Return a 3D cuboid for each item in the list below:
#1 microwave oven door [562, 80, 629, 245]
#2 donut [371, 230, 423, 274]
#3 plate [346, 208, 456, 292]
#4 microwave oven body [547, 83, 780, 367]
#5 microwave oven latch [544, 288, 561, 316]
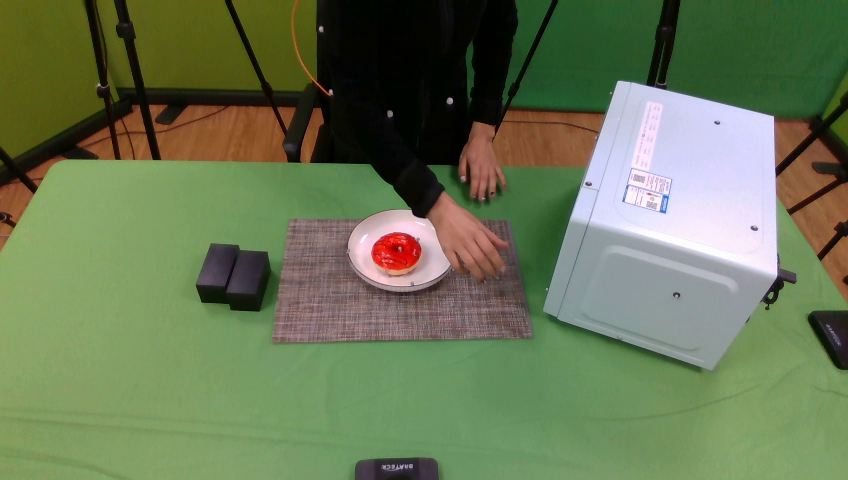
[{"bbox_3d":[0.324,-0.116,1.156,0.039,0.245,0.354,18,48,13],"label":"microwave oven door"},{"bbox_3d":[-0.051,0.022,1.142,0.099,0.048,0.098,0,45,0],"label":"donut"},{"bbox_3d":[-0.044,0.021,1.159,0.209,0.038,0.208,2,47,-2],"label":"plate"},{"bbox_3d":[0.444,-0.041,1.101,0.325,0.261,0.440,17,47,13],"label":"microwave oven body"},{"bbox_3d":[0.237,0.098,1.087,0.030,0.029,0.079,18,47,14],"label":"microwave oven latch"}]
